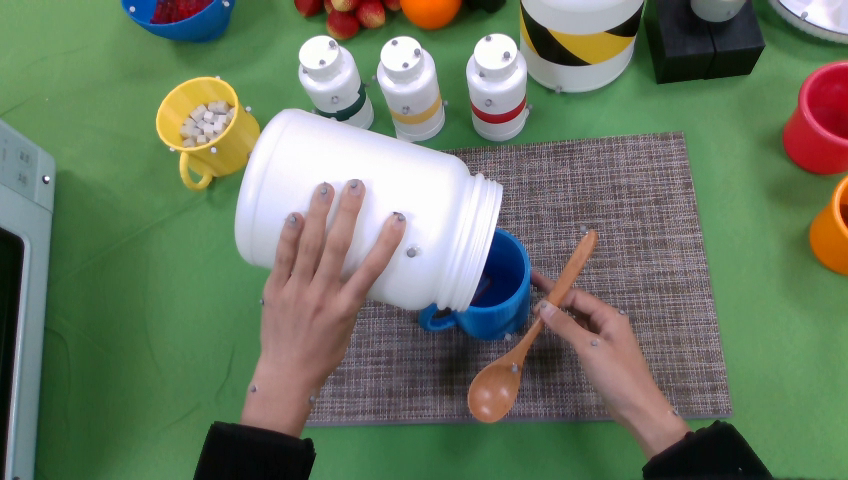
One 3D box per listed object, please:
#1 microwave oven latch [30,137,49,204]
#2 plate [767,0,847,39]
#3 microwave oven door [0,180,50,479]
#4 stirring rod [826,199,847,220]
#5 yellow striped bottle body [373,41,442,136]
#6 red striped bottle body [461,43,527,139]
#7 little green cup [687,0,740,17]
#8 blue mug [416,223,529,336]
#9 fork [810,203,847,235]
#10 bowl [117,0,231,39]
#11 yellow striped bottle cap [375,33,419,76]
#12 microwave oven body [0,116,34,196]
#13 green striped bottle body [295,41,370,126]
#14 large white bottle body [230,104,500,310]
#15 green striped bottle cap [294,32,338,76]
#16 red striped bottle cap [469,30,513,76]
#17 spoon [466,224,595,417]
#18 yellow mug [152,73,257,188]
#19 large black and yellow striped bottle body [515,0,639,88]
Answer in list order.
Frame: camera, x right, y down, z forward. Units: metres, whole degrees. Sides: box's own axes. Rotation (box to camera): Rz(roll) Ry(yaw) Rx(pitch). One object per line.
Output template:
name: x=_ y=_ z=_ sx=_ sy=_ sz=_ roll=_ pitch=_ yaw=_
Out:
microwave oven latch: x=-0.471 y=-0.081 z=0.725 sx=0.030 sy=0.030 sz=0.078 roll=-11 pitch=69 yaw=4
plate: x=0.482 y=-0.310 z=0.689 sx=0.209 sy=0.038 sz=0.207 roll=-3 pitch=70 yaw=8
microwave oven door: x=-0.450 y=0.083 z=0.551 sx=0.039 sy=0.246 sz=0.353 roll=-12 pitch=68 yaw=4
stirring rod: x=0.403 y=-0.001 z=0.531 sx=0.014 sy=0.006 sz=0.175 roll=-1 pitch=26 yaw=6
yellow striped bottle body: x=-0.018 y=-0.172 z=0.668 sx=0.063 sy=0.121 sz=0.062 roll=-3 pitch=68 yaw=8
red striped bottle body: x=0.076 y=-0.167 z=0.653 sx=0.063 sy=0.121 sz=0.062 roll=-5 pitch=65 yaw=12
little green cup: x=0.312 y=-0.270 z=0.644 sx=0.061 sy=0.039 sz=0.061 roll=-2 pitch=67 yaw=5
blue mug: x=0.044 y=0.049 z=0.578 sx=0.116 sy=0.107 sz=0.081 roll=-31 pitch=67 yaw=-4
fork: x=0.432 y=0.000 z=0.519 sx=0.028 sy=0.019 sz=0.205 roll=-41 pitch=25 yaw=-6
bowl: x=-0.310 y=-0.318 z=0.790 sx=0.151 sy=0.077 sz=0.150 roll=-3 pitch=69 yaw=7
yellow striped bottle cap: x=-0.028 y=-0.190 z=0.619 sx=0.044 sy=0.019 sz=0.044 roll=-1 pitch=65 yaw=2
microwave oven body: x=-0.599 y=0.077 z=0.581 sx=0.326 sy=0.262 sz=0.438 roll=-12 pitch=69 yaw=3
green striped bottle body: x=-0.104 y=-0.176 z=0.682 sx=0.063 sy=0.120 sz=0.062 roll=-3 pitch=69 yaw=7
large white bottle body: x=-0.043 y=-0.021 z=0.485 sx=0.185 sy=0.131 sz=0.130 roll=17 pitch=72 yaw=-2
green striped bottle cap: x=-0.113 y=-0.195 z=0.635 sx=0.044 sy=0.020 sz=0.044 roll=-2 pitch=68 yaw=6
red striped bottle cap: x=0.067 y=-0.187 z=0.604 sx=0.044 sy=0.018 sz=0.044 roll=-1 pitch=68 yaw=4
spoon: x=0.095 y=0.072 z=0.526 sx=0.041 sy=0.021 sz=0.194 roll=32 pitch=103 yaw=8
yellow mug: x=-0.262 y=-0.123 z=0.715 sx=0.100 sy=0.064 sz=0.130 roll=6 pitch=71 yaw=11
large black and yellow striped bottle body: x=0.162 y=-0.265 z=0.642 sx=0.130 sy=0.185 sz=0.130 roll=-3 pitch=69 yaw=8
